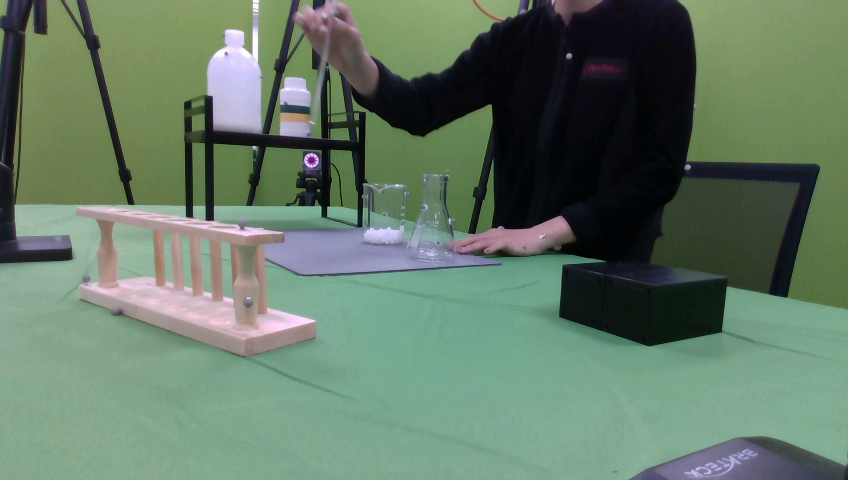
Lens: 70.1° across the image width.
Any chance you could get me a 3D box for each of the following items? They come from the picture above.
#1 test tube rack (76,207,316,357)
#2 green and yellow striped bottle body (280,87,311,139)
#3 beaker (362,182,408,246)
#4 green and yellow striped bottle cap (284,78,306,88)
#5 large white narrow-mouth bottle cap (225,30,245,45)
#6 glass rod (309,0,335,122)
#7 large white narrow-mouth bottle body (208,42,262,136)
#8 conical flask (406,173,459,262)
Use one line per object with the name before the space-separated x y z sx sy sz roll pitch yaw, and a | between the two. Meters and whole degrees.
test tube rack | -0.196 0.023 0.500 0.241 0.085 0.067 8 9 36
green and yellow striped bottle body | -0.269 -0.274 1.266 0.063 0.119 0.063 3 7 0
beaker | -0.066 -0.043 0.996 0.074 0.100 0.084 3 8 6
green and yellow striped bottle cap | -0.268 -0.325 1.259 0.045 0.020 0.045 5 8 0
large white narrow-mouth bottle cap | -0.365 -0.389 1.166 0.038 0.024 0.037 3 9 0
glass rod | -0.133 -0.254 0.799 0.008 0.199 0.008 10 -2 1
large white narrow-mouth bottle body | -0.368 -0.304 1.181 0.102 0.194 0.101 3 9 0
conical flask | 0.014 -0.033 0.851 0.075 0.122 0.075 3 7 0
